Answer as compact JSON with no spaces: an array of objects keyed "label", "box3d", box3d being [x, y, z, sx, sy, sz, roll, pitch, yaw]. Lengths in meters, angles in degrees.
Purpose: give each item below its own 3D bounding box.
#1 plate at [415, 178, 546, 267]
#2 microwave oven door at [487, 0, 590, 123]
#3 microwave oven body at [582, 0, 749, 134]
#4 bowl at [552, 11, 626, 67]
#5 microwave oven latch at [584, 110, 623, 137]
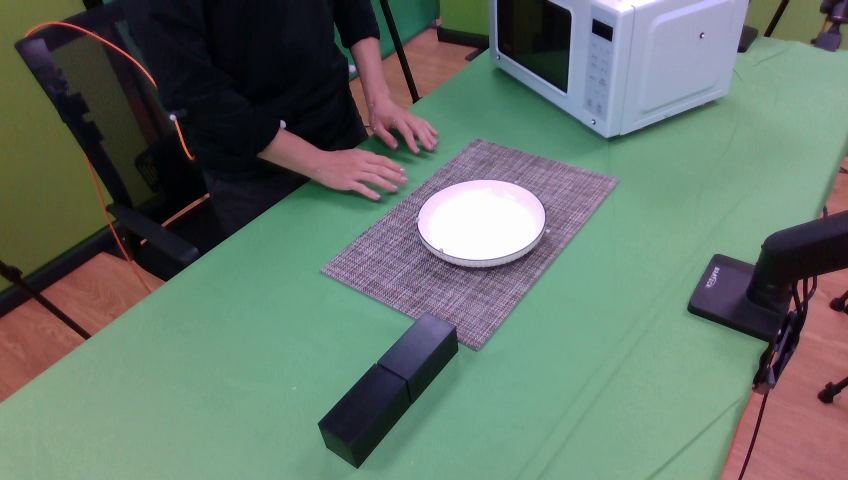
[{"label":"plate","box3d":[0.091,-0.026,0.970,0.207,0.039,0.206,-4,41,4]},{"label":"microwave oven door","box3d":[0.232,-0.420,1.231,0.039,0.245,0.352,-22,43,-16]},{"label":"microwave oven body","box3d":[0.382,-0.444,1.246,0.327,0.261,0.437,-22,42,-16]},{"label":"bowl","box3d":[0.343,-0.418,1.278,0.151,0.077,0.150,-1,41,1]},{"label":"microwave oven latch","box3d":[0.337,-0.222,1.142,0.030,0.029,0.078,-21,42,-15]}]
